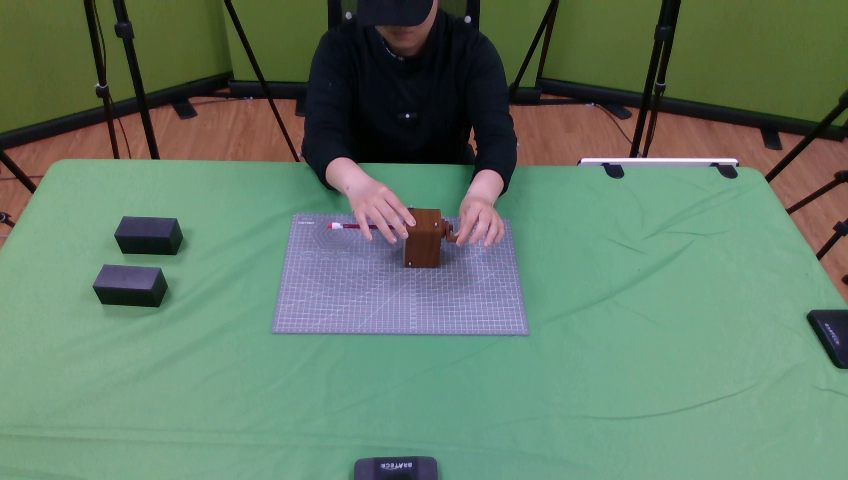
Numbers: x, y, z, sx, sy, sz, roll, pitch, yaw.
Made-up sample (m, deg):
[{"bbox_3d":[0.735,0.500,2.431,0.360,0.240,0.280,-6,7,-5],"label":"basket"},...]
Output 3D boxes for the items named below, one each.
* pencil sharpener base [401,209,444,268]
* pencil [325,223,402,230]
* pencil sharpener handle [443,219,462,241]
[{"bbox_3d":[-0.004,-0.002,1.137,0.077,0.107,0.061,0,46,-4],"label":"pencil sharpener base"},{"bbox_3d":[-0.083,-0.023,1.111,0.194,0.012,0.012,1,45,-5],"label":"pencil"},{"bbox_3d":[0.050,-0.015,1.107,0.031,0.036,0.067,0,25,-4],"label":"pencil sharpener handle"}]
